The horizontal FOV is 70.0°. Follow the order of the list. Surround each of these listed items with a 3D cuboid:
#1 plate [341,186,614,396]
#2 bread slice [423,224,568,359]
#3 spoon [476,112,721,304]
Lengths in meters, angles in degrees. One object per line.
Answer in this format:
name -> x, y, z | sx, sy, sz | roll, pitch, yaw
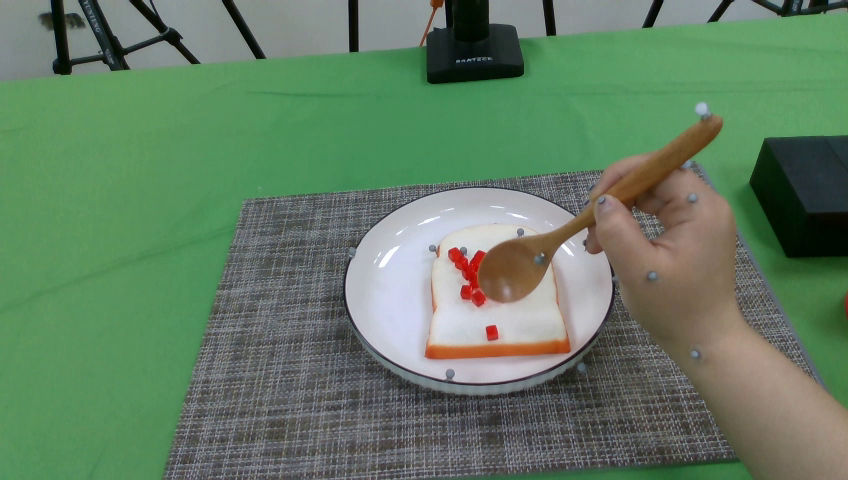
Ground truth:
plate -> 0.040, 0.036, 0.480 | 0.209, 0.038, 0.207 | -3, 45, 4
bread slice -> 0.052, 0.036, 0.481 | 0.105, 0.019, 0.130 | -2, 45, 3
spoon -> 0.093, -0.010, 0.359 | 0.041, 0.194, 0.021 | 50, 49, 2
